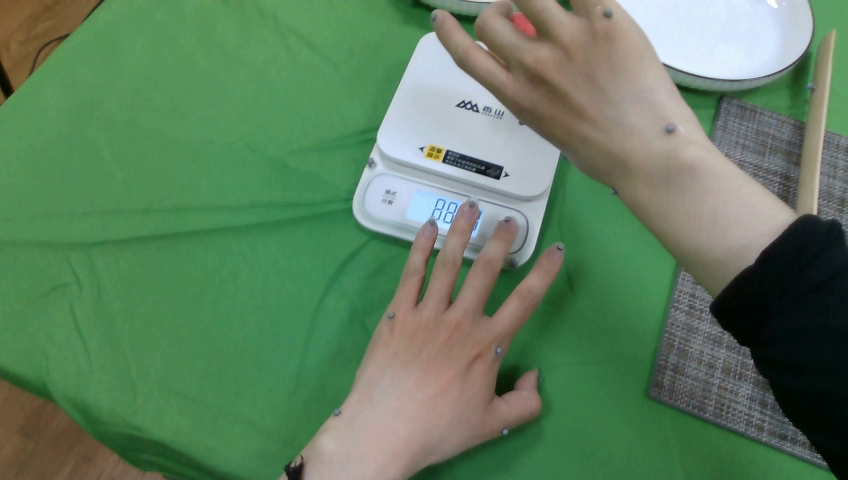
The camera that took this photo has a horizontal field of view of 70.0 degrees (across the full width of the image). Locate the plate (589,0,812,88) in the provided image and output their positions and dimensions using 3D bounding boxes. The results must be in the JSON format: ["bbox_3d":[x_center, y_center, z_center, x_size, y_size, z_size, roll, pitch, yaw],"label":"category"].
[{"bbox_3d":[0.261,-0.223,0.586,0.209,0.038,0.207,2,62,-3],"label":"plate"}]

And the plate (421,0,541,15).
[{"bbox_3d":[0.051,-0.299,0.614,0.208,0.039,0.206,1,62,-2],"label":"plate"}]

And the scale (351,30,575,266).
[{"bbox_3d":[0.037,-0.084,0.504,0.148,0.032,0.199,17,63,6],"label":"scale"}]

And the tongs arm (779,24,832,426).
[{"bbox_3d":[0.320,-0.040,0.496,0.028,0.028,0.385,21,63,3],"label":"tongs arm"}]

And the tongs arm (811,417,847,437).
[{"bbox_3d":[0.394,-0.003,0.479,0.050,0.027,0.383,32,66,12],"label":"tongs arm"}]

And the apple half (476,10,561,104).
[{"bbox_3d":[0.078,-0.139,0.446,0.033,0.082,0.081,-44,71,-5],"label":"apple half"}]
